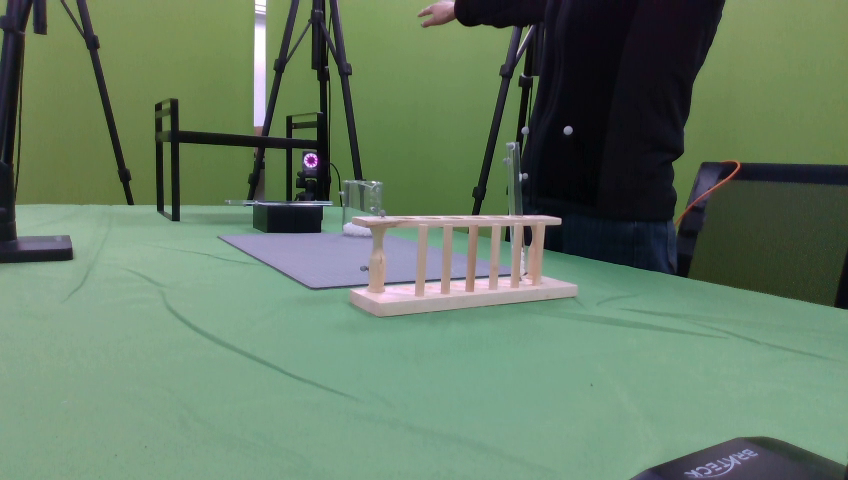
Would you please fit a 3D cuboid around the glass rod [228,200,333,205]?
[{"bbox_3d":[-0.268,-0.071,1.143,0.201,0.008,0.008,-1,8,-29],"label":"glass rod"}]

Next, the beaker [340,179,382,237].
[{"bbox_3d":[-0.113,-0.058,1.094,0.074,0.100,0.083,-2,10,-29],"label":"beaker"}]

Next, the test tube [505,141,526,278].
[{"bbox_3d":[0.101,-0.032,0.664,0.017,0.150,0.017,-5,8,1],"label":"test tube"}]

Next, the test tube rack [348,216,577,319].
[{"bbox_3d":[0.048,0.021,0.619,0.244,0.085,0.066,-2,9,-31],"label":"test tube rack"}]
